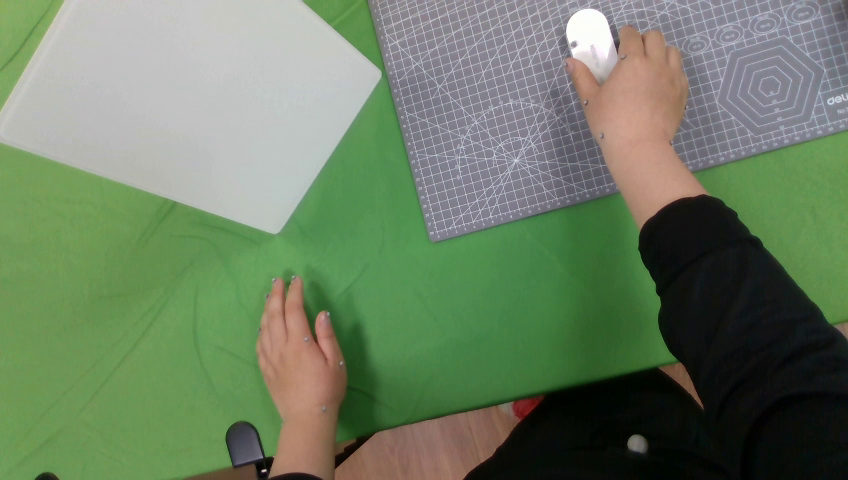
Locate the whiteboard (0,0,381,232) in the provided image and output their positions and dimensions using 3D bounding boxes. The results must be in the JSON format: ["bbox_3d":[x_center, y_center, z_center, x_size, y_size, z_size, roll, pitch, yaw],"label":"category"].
[{"bbox_3d":[-0.223,-0.165,0.573,0.142,0.308,0.217,39,98,29],"label":"whiteboard"}]

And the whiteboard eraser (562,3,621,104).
[{"bbox_3d":[0.167,-0.186,0.606,0.041,0.019,0.101,-16,87,10],"label":"whiteboard eraser"}]
